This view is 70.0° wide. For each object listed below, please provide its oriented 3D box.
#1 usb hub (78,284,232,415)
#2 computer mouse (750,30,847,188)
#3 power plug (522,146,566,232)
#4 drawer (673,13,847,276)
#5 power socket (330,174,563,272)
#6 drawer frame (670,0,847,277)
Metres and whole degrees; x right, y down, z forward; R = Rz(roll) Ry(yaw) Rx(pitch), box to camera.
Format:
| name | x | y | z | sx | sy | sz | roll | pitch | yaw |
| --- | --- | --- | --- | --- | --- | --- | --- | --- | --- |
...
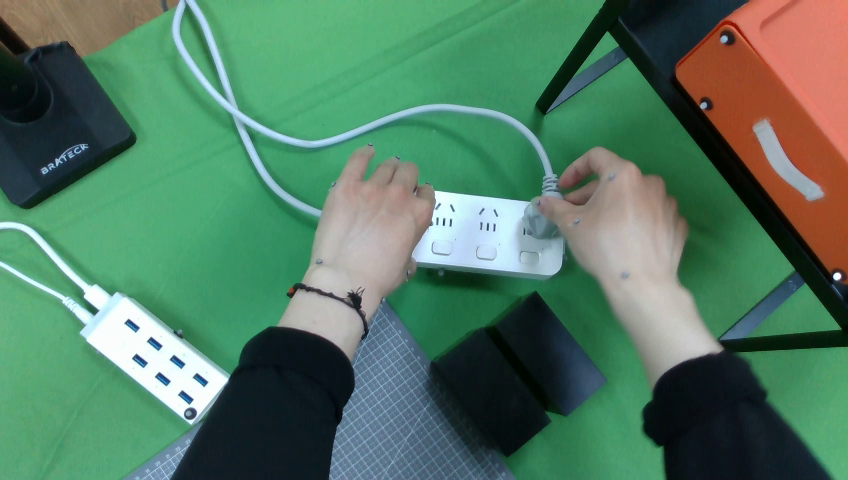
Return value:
| name | x | y | z | sx | sy | sz | roll | pitch | yaw |
| --- | --- | --- | --- | --- | --- | --- | --- | --- | --- |
| usb hub | -0.234 | 0.095 | 0.529 | 0.125 | 0.025 | 0.049 | 38 | 79 | 1 |
| computer mouse | 0.293 | -0.096 | 0.432 | 0.063 | 0.041 | 0.117 | -40 | 85 | -8 |
| power plug | 0.112 | -0.043 | 0.557 | 0.035 | 0.052 | 0.072 | 19 | 80 | -20 |
| drawer | 0.319 | -0.113 | 0.423 | 0.212 | 0.073 | 0.194 | -36 | 86 | -12 |
| power socket | 0.026 | -0.015 | 0.576 | 0.227 | 0.032 | 0.072 | 7 | 79 | -5 |
| drawer frame | 0.321 | -0.116 | 0.423 | 0.213 | 0.083 | 0.201 | -37 | 86 | -12 |
